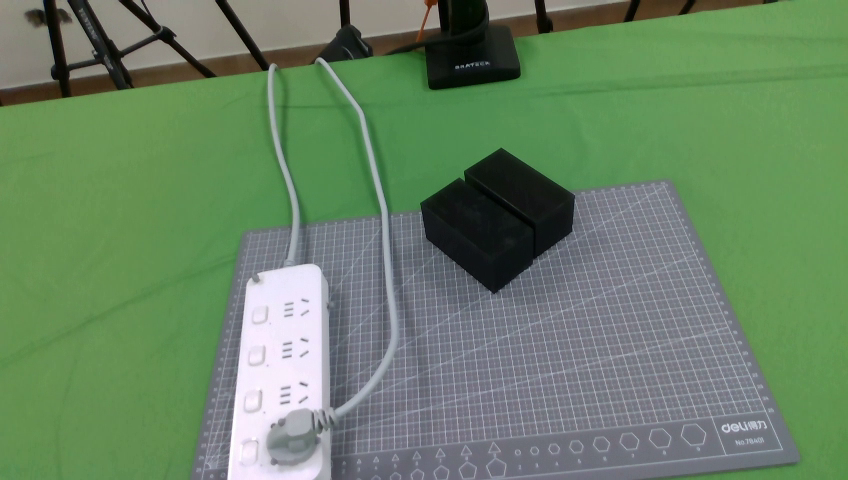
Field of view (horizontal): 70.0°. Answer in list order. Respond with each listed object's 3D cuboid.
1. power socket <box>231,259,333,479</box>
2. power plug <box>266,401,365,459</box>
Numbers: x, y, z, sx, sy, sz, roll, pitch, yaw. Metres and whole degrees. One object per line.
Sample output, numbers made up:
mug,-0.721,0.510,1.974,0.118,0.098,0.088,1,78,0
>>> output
power socket,-0.115,0.106,0.506,0.072,0.033,0.224,-9,48,0
power plug,-0.079,0.143,0.443,0.072,0.053,0.035,2,49,4
